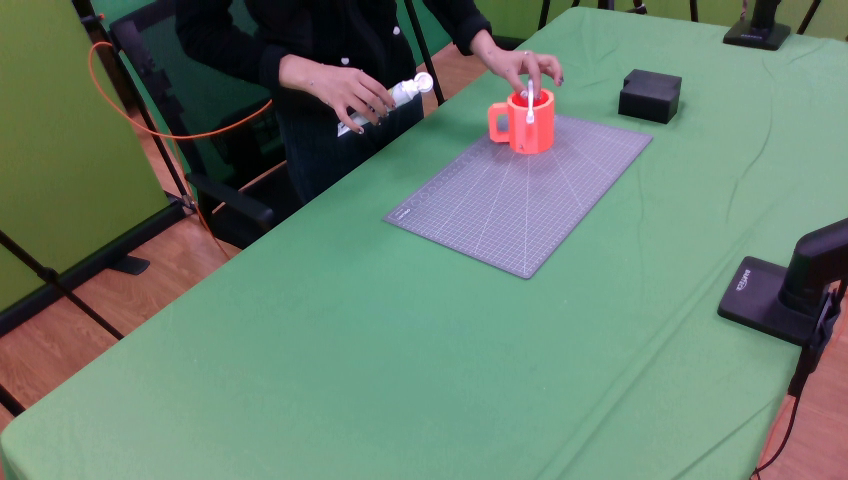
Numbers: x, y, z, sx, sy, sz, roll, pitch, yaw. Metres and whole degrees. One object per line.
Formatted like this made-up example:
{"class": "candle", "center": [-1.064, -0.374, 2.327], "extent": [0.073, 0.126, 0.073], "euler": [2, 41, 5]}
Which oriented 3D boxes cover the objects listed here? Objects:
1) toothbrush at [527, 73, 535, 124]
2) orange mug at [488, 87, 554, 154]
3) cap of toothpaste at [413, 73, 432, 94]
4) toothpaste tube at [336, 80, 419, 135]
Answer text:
{"class": "toothbrush", "center": [0.198, -0.266, 1.114], "extent": [0.014, 0.017, 0.181], "euler": [-3, 40, 13]}
{"class": "orange mug", "center": [0.185, -0.228, 1.151], "extent": [0.126, 0.101, 0.083], "euler": [1, 41, 5]}
{"class": "cap of toothpaste", "center": [-0.003, -0.276, 1.062], "extent": [0.037, 0.037, 0.011], "euler": [-21, 5, -13]}
{"class": "toothpaste tube", "center": [-0.082, -0.234, 1.054], "extent": [0.165, 0.035, 0.055], "euler": [-26, 29, 8]}
